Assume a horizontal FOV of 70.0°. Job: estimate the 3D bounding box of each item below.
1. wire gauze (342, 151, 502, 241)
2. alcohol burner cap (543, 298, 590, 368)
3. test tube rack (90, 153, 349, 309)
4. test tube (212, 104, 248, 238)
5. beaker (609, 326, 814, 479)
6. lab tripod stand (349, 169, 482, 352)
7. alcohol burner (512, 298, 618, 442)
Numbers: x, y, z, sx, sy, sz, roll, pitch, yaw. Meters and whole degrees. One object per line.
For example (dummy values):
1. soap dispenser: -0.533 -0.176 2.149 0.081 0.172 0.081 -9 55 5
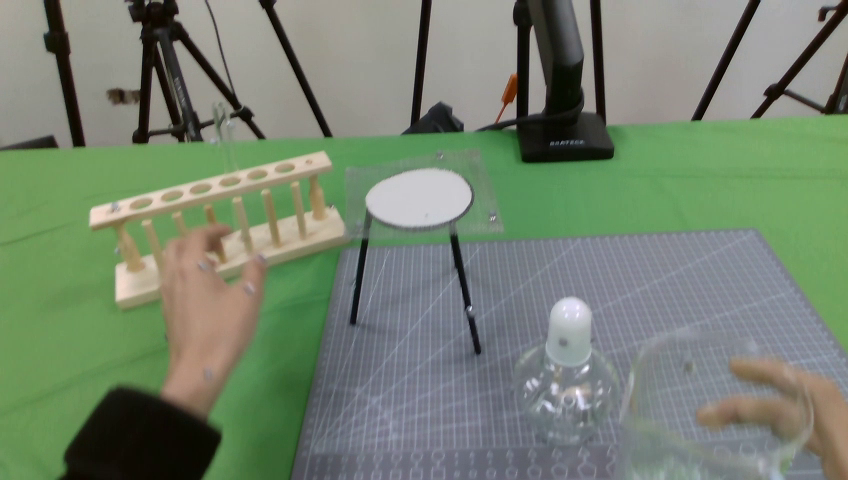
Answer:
1. wire gauze: -0.007 -0.037 0.497 0.125 0.011 0.120 -6 36 -1
2. alcohol burner cap: 0.100 0.062 0.421 0.034 0.048 0.033 -4 38 4
3. test tube rack: -0.210 -0.013 0.646 0.243 0.086 0.066 -17 38 -16
4. test tube: -0.202 -0.068 0.635 0.017 0.151 0.017 0 31 0
5. beaker: 0.128 0.104 0.292 0.084 0.101 0.073 -9 35 -9
6. lab tripod stand: -0.002 0.017 0.537 0.148 0.133 0.147 -3 38 3
7. alcohol burner: 0.104 0.091 0.442 0.078 0.120 0.077 -2 35 2
